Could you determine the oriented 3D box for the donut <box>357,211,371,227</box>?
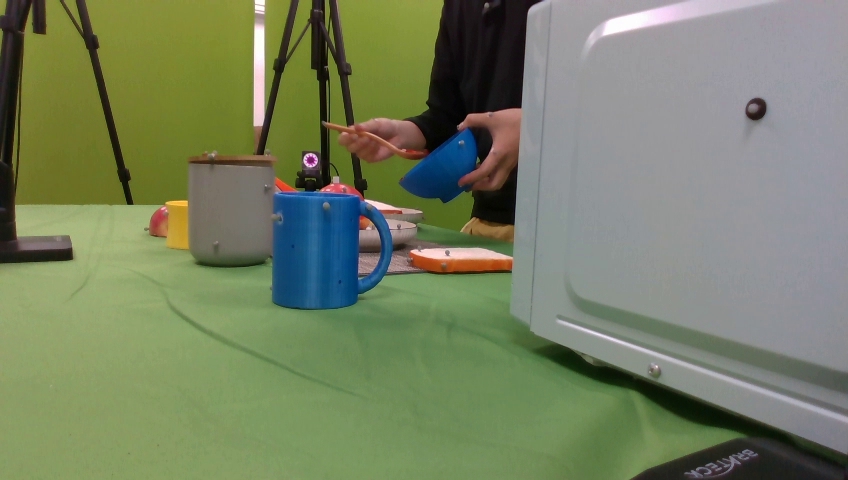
[{"bbox_3d":[-0.132,-0.041,0.959,0.099,0.048,0.099,3,8,0],"label":"donut"}]

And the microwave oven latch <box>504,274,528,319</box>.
[{"bbox_3d":[0.100,0.041,0.470,0.079,0.029,0.030,-1,7,-27],"label":"microwave oven latch"}]

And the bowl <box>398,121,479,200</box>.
[{"bbox_3d":[0.038,-0.119,1.000,0.151,0.077,0.151,-38,9,7],"label":"bowl"}]

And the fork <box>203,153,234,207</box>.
[{"bbox_3d":[-0.480,-0.134,1.411,0.028,0.018,0.207,1,-35,0],"label":"fork"}]

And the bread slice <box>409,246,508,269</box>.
[{"bbox_3d":[0.048,0.022,0.816,0.132,0.019,0.104,0,7,-24],"label":"bread slice"}]

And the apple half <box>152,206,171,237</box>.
[{"bbox_3d":[-0.415,-0.034,1.017,0.081,0.053,0.074,1,10,-9],"label":"apple half"}]

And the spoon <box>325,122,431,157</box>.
[{"bbox_3d":[-0.079,-0.171,1.017,0.193,0.021,0.042,22,12,13],"label":"spoon"}]

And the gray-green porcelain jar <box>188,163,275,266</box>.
[{"bbox_3d":[-0.246,-0.034,0.779,0.106,0.126,0.106,1,7,0],"label":"gray-green porcelain jar"}]

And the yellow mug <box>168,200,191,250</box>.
[{"bbox_3d":[-0.320,-0.023,0.904,0.130,0.064,0.100,8,10,36],"label":"yellow mug"}]

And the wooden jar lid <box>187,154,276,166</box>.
[{"bbox_3d":[-0.244,-0.097,0.771,0.108,0.020,0.108,-1,7,0],"label":"wooden jar lid"}]

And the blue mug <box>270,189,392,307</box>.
[{"bbox_3d":[-0.090,0.005,0.588,0.117,0.106,0.082,1,7,-11],"label":"blue mug"}]

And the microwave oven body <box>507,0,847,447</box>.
[{"bbox_3d":[0.331,-0.042,0.425,0.444,0.260,0.324,-2,8,-31],"label":"microwave oven body"}]

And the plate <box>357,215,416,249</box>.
[{"bbox_3d":[-0.116,-0.014,0.967,0.208,0.039,0.207,2,7,0],"label":"plate"}]

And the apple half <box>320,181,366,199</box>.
[{"bbox_3d":[-0.130,-0.077,0.952,0.081,0.033,0.081,3,14,0],"label":"apple half"}]

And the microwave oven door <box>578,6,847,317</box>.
[{"bbox_3d":[0.294,-0.067,0.570,0.358,0.243,0.039,-3,9,-31],"label":"microwave oven door"}]

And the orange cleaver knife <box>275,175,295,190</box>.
[{"bbox_3d":[-0.283,-0.087,1.343,0.212,0.077,0.012,24,-16,-41],"label":"orange cleaver knife"}]

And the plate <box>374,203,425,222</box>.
[{"bbox_3d":[-0.102,-0.053,1.299,0.209,0.038,0.209,2,8,0],"label":"plate"}]

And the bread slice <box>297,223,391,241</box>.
[{"bbox_3d":[-0.121,-0.015,0.970,0.106,0.018,0.135,9,10,41],"label":"bread slice"}]
